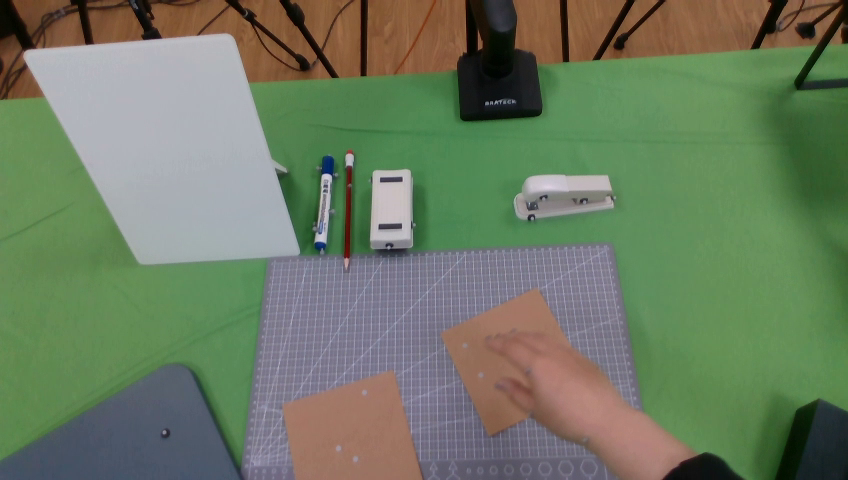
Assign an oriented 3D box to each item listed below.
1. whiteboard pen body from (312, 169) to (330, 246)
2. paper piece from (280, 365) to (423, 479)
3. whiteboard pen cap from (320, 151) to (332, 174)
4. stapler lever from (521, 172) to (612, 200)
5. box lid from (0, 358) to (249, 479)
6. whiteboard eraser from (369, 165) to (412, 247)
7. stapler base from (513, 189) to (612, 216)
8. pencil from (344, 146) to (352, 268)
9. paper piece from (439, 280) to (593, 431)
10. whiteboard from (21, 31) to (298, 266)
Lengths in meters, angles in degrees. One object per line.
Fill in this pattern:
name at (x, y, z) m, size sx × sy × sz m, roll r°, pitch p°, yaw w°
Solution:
whiteboard pen body at (-0.139, -0.056, 0.827) m, size 0.017 × 0.017 × 0.139 m, roll -2°, pitch 62°, yaw 3°
paper piece at (-0.084, 0.222, 0.682) m, size 0.135 × 0.004 × 0.134 m, roll -16°, pitch 64°, yaw -5°
whiteboard pen cap at (-0.138, -0.107, 0.853) m, size 0.018 × 0.018 × 0.033 m, roll -4°, pitch 61°, yaw 2°
stapler lever at (0.185, -0.073, 0.783) m, size 0.118 × 0.040 × 0.026 m, roll -8°, pitch 65°, yaw -1°
box lid at (-0.305, 0.329, 0.643) m, size 0.263 × 0.015 × 0.368 m, roll -31°, pitch 65°, yaw -11°
whiteboard eraser at (-0.044, -0.045, 0.802) m, size 0.055 × 0.042 × 0.111 m, roll -4°, pitch 63°, yaw 4°
stapler base at (0.185, -0.061, 0.804) m, size 0.130 × 0.024 × 0.041 m, roll -7°, pitch 65°, yaw -2°
pencil at (-0.103, -0.048, 0.825) m, size 0.012 × 0.012 × 0.192 m, roll -5°, pitch 63°, yaw 2°
paper piece at (0.106, 0.133, 0.715) m, size 0.136 × 0.009 × 0.137 m, roll -25°, pitch 65°, yaw -4°
whiteboard at (-0.282, -0.130, 0.748) m, size 0.217 × 0.308 × 0.142 m, roll -3°, pitch 43°, yaw 3°
